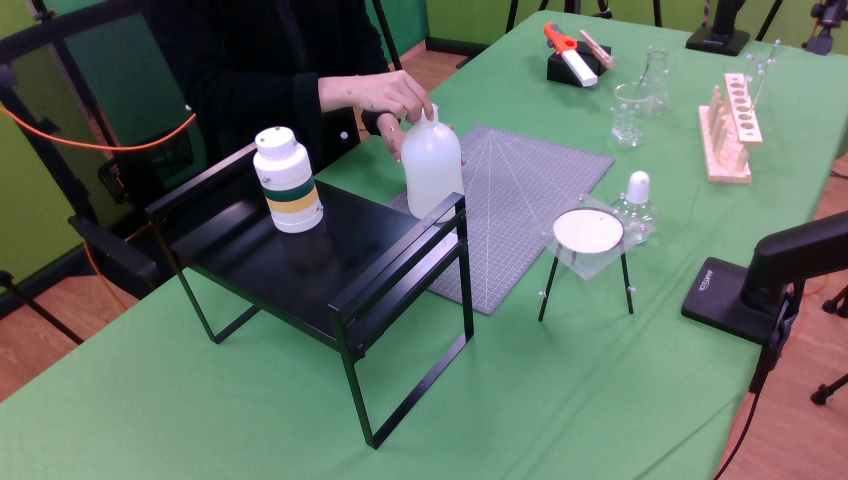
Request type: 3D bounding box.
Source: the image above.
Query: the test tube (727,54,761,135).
[{"bbox_3d":[0.564,-0.254,1.069,0.017,0.151,0.017,-1,40,1],"label":"test tube"}]

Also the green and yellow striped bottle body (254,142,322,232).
[{"bbox_3d":[-0.165,-0.073,0.732,0.063,0.120,0.063,-4,41,4],"label":"green and yellow striped bottle body"}]

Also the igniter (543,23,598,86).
[{"bbox_3d":[0.320,-0.419,1.345,0.057,0.025,0.274,-12,44,-3],"label":"igniter"}]

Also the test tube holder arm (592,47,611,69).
[{"bbox_3d":[0.385,-0.398,1.317,0.010,0.015,0.087,-10,41,-2],"label":"test tube holder arm"}]

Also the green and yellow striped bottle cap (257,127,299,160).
[{"bbox_3d":[-0.169,-0.112,0.698,0.045,0.020,0.045,-5,40,5],"label":"green and yellow striped bottle cap"}]

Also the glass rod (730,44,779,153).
[{"bbox_3d":[0.555,-0.234,1.021,0.008,0.200,0.008,2,40,-1],"label":"glass rod"}]

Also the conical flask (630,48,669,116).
[{"bbox_3d":[0.457,-0.317,1.205,0.075,0.122,0.075,-4,41,4],"label":"conical flask"}]

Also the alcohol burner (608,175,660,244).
[{"bbox_3d":[0.322,-0.053,0.924,0.078,0.119,0.077,-4,43,4],"label":"alcohol burner"}]

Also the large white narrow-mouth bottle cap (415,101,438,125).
[{"bbox_3d":[0.003,-0.196,0.936,0.038,0.024,0.037,-5,39,4],"label":"large white narrow-mouth bottle cap"}]

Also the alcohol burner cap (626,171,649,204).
[{"bbox_3d":[0.320,-0.081,0.900,0.034,0.048,0.033,-4,42,4],"label":"alcohol burner cap"}]

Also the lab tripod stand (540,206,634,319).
[{"bbox_3d":[0.218,0.034,0.821,0.148,0.132,0.147,-4,42,4],"label":"lab tripod stand"}]

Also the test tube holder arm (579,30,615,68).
[{"bbox_3d":[0.384,-0.428,1.351,0.013,0.015,0.177,-11,41,-3],"label":"test tube holder arm"}]

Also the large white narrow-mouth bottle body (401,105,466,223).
[{"bbox_3d":[0.013,-0.130,0.989,0.102,0.195,0.101,-5,39,4],"label":"large white narrow-mouth bottle body"}]

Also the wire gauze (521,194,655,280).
[{"bbox_3d":[0.207,-0.012,0.772,0.122,0.011,0.124,-28,44,-20],"label":"wire gauze"}]

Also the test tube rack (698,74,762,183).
[{"bbox_3d":[0.547,-0.208,1.095,0.066,0.085,0.242,5,42,15],"label":"test tube rack"}]

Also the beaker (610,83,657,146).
[{"bbox_3d":[0.388,-0.235,1.138,0.074,0.101,0.083,-31,45,-26],"label":"beaker"}]
